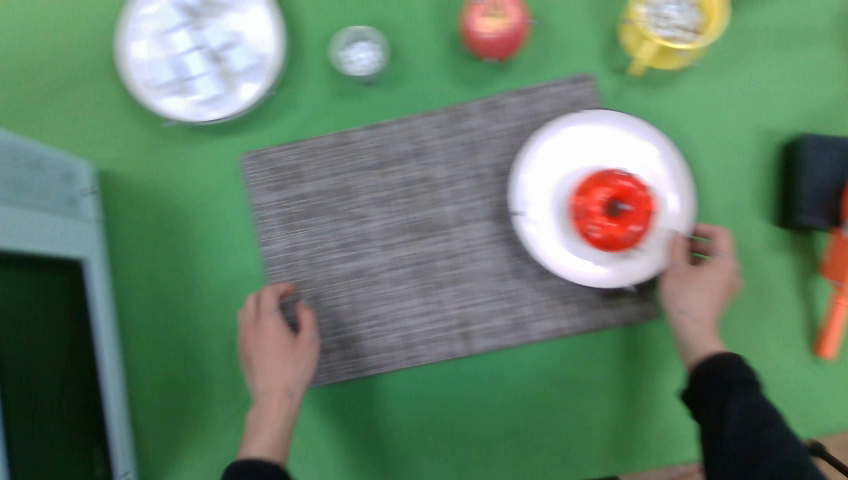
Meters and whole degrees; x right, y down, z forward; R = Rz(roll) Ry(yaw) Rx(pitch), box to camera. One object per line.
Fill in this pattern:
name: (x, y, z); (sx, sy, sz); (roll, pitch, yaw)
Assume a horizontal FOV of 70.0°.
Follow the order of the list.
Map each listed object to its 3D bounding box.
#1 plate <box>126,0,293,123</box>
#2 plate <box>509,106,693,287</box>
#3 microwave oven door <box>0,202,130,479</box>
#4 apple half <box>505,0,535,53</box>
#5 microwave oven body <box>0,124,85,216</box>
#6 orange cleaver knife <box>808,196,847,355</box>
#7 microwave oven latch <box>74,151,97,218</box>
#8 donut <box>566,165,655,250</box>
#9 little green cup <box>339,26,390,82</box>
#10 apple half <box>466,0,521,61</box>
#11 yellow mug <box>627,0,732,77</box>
plate: (-0.263, -0.245, 0.758); (0.207, 0.039, 0.207); (0, 85, 4)
plate: (0.202, -0.049, 0.706); (0.209, 0.038, 0.208); (0, 85, 4)
microwave oven door: (-0.397, 0.141, 0.616); (0.039, 0.244, 0.355); (-10, 84, 3)
apple half: (0.114, -0.263, 0.715); (0.033, 0.081, 0.081); (-21, 84, 7)
microwave oven body: (-0.546, 0.123, 0.633); (0.326, 0.261, 0.440); (-9, 85, 3)
orange cleaver knife: (0.456, 0.026, 0.665); (0.012, 0.077, 0.212); (8, 116, 8)
microwave oven latch: (-0.420, -0.066, 0.736); (0.030, 0.029, 0.079); (-8, 86, 3)
donut: (0.213, -0.037, 0.694); (0.099, 0.048, 0.099); (0, 86, 5)
little green cup: (-0.070, -0.226, 0.744); (0.061, 0.039, 0.061); (0, 85, 4)
apple half: (0.077, -0.249, 0.718); (0.053, 0.075, 0.080); (-21, 88, 7)
yellow mug: (0.286, -0.246, 0.706); (0.100, 0.064, 0.131); (36, 90, 6)
